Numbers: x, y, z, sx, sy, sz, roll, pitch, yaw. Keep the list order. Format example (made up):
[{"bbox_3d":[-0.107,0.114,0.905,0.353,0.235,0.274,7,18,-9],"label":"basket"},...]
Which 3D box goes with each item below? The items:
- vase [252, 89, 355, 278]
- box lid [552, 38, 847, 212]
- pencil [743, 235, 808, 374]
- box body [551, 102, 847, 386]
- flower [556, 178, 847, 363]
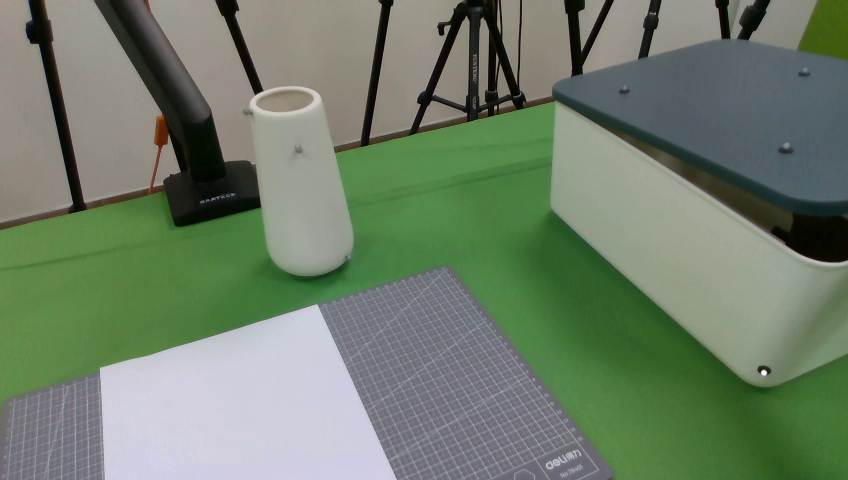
[{"bbox_3d":[-0.132,-0.057,0.654,0.098,0.202,0.097,-2,36,2],"label":"vase"},{"bbox_3d":[0.318,-0.131,0.574,0.264,0.015,0.367,-18,31,-13],"label":"box lid"},{"bbox_3d":[0.368,0.061,0.637,0.012,0.012,0.192,2,42,5],"label":"pencil"},{"bbox_3d":[0.332,-0.042,0.649,0.255,0.162,0.359,-16,39,-18],"label":"box body"},{"bbox_3d":[0.297,0.026,0.683,0.358,0.038,0.044,38,15,30],"label":"flower"}]
